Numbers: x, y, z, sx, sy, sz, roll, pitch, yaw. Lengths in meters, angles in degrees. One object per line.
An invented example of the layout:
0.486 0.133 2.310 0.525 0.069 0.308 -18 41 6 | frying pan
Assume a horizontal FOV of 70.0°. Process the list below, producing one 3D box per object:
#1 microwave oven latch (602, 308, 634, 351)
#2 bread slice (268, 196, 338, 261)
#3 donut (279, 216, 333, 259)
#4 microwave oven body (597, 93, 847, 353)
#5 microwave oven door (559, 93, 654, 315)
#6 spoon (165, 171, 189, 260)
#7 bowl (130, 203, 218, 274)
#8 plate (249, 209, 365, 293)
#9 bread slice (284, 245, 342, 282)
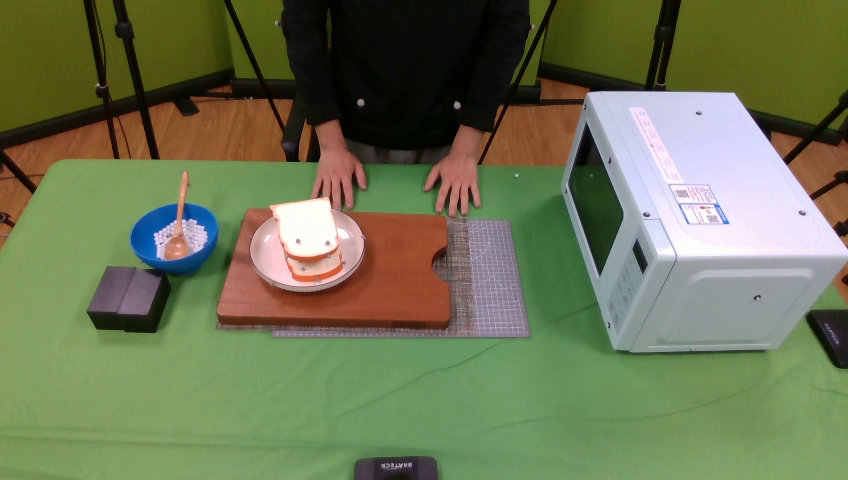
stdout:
0.332 0.153 1.044 0.030 0.029 0.078 -1 45 -4 | microwave oven latch
-0.207 -0.020 1.071 0.107 0.018 0.133 -14 55 -18 | bread slice
-0.213 -0.005 1.097 0.099 0.048 0.098 -2 41 2 | donut
0.475 -0.041 1.110 0.326 0.261 0.438 -1 45 -4 | microwave oven body
0.327 -0.074 1.123 0.039 0.245 0.353 -1 46 -5 | microwave oven door
-0.452 -0.046 1.129 0.041 0.022 0.193 -1 69 -2 | spoon
-0.450 0.010 1.116 0.151 0.077 0.150 3 45 -3 | bowl
-0.212 0.021 1.113 0.208 0.039 0.206 3 45 -2 | plate
-0.205 0.024 1.115 0.105 0.019 0.130 -13 45 -14 | bread slice
